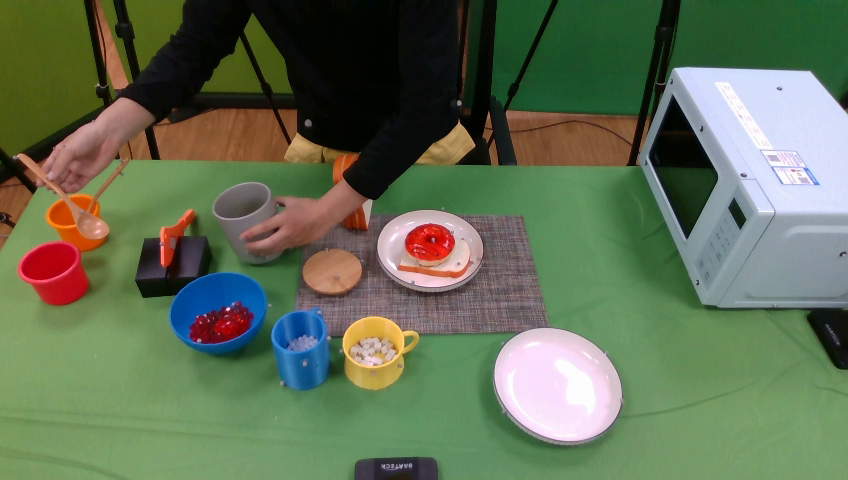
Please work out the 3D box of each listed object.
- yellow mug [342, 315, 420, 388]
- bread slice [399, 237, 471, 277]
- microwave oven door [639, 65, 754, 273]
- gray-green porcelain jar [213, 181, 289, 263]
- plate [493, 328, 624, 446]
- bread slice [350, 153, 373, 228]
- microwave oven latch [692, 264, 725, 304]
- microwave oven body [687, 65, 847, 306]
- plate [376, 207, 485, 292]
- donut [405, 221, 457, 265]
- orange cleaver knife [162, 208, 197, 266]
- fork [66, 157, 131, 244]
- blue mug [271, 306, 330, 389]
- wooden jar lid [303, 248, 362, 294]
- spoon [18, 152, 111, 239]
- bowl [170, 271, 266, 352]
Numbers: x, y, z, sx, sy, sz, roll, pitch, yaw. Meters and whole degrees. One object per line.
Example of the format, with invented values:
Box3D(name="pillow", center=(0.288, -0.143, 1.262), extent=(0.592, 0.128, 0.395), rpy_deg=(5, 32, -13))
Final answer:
Box3D(name="yellow mug", center=(-0.068, 0.177, 0.990), extent=(0.131, 0.064, 0.099), rpy_deg=(-15, 50, -19))
Box3D(name="bread slice", center=(0.025, 0.025, 1.161), extent=(0.131, 0.019, 0.104), rpy_deg=(7, 47, 8))
Box3D(name="microwave oven door", center=(0.522, -0.147, 1.192), extent=(0.039, 0.245, 0.353), rpy_deg=(0, 47, -3))
Box3D(name="gray-green porcelain jar", center=(-0.314, -0.029, 1.119), extent=(0.106, 0.127, 0.105), rpy_deg=(-7, 44, 7))
Box3D(name="plate", center=(0.213, 0.236, 0.974), extent=(0.208, 0.039, 0.206), rpy_deg=(2, 46, -2))
Box3D(name="bread slice", center=(-0.125, -0.104, 1.207), extent=(0.018, 0.135, 0.106), rpy_deg=(-1, 48, 6))
Box3D(name="microwave oven latch", center=(0.522, 0.081, 1.116), extent=(0.030, 0.029, 0.078), rpy_deg=(1, 46, -2))
Box3D(name="microwave oven body", center=(0.669, -0.111, 1.176), extent=(0.326, 0.261, 0.439), rpy_deg=(0, 46, -3))
Box3D(name="plate", center=(0.012, 0.020, 1.159), extent=(0.209, 0.038, 0.208), rpy_deg=(2, 47, -2))
Box3D(name="donut", center=(0.013, 0.004, 1.136), extent=(0.099, 0.048, 0.098), rpy_deg=(0, 46, 0))
Box3D(name="orange cleaver knife", center=(-0.454, -0.010, 1.129), extent=(0.012, 0.077, 0.210), rpy_deg=(-2, 17, -5))
Box3D(name="fork", center=(-0.609, -0.074, 1.133), extent=(0.207, 0.019, 0.028), rpy_deg=(-52, 52, 10))
Box3D(name="blue mug", center=(-0.188, 0.163, 0.969), extent=(0.082, 0.106, 0.116), rpy_deg=(15, 47, 10))
Box3D(name="wooden jar lid", center=(-0.169, 0.059, 1.122), extent=(0.108, 0.021, 0.107), rpy_deg=(2, 46, -2))
Box3D(name="spoon", center=(-0.588, -0.074, 0.988), extent=(0.194, 0.021, 0.041), rpy_deg=(48, 52, -4))
Box3D(name="bowl", center=(-0.333, 0.132, 1.006), extent=(0.151, 0.077, 0.150), rpy_deg=(2, 46, -2))
